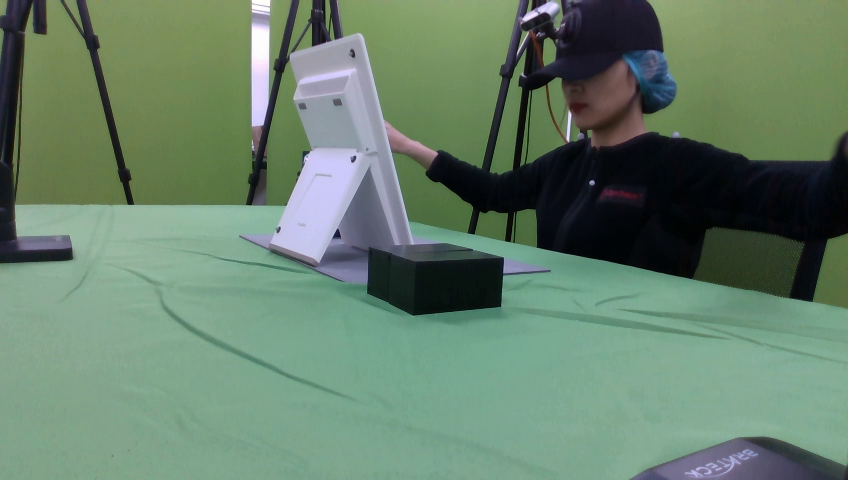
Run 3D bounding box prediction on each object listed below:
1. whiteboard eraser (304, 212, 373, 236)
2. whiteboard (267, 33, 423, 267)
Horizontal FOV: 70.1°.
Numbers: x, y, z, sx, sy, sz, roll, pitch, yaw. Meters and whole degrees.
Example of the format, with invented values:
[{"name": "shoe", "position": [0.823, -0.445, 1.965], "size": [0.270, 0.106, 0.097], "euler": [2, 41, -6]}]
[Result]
[{"name": "whiteboard eraser", "position": [-0.152, -0.029, 1.077], "size": [0.113, 0.042, 0.055], "euler": [-2, 8, -31]}, {"name": "whiteboard", "position": [-0.153, -0.098, 0.819], "size": [0.144, 0.305, 0.216], "euler": [-25, 21, -29]}]
